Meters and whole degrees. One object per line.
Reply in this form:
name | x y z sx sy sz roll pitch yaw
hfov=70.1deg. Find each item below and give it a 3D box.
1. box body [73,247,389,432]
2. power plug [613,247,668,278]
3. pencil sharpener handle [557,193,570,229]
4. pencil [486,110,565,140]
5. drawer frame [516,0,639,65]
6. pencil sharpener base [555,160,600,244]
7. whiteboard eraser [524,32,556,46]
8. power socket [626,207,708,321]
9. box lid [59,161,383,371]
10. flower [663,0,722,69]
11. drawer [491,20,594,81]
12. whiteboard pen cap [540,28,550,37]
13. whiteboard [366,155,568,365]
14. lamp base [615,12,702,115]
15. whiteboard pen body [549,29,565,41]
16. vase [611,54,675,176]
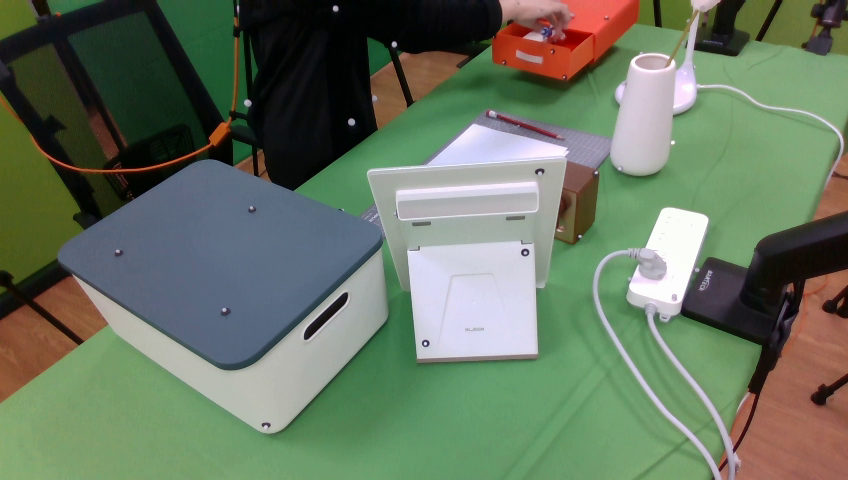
box body | -0.255 0.065 0.827 0.361 0.161 0.255 21 48 29
power plug | 0.306 0.032 0.851 0.072 0.053 0.035 24 49 34
pencil sharpener handle | 0.195 -0.038 0.908 0.035 0.068 0.031 24 50 30
pencil | 0.204 -0.232 1.226 0.192 0.012 0.012 29 52 33
drawer frame | 0.354 -0.506 1.404 0.200 0.083 0.214 25 55 33
pencil sharpener base | 0.228 -0.057 0.945 0.061 0.107 0.077 24 50 31
whiteboard eraser | 0.246 -0.433 1.359 0.055 0.042 0.113 28 45 31
power socket | 0.359 0.025 0.886 0.072 0.033 0.227 16 46 26
box lid | -0.262 0.010 0.777 0.369 0.015 0.264 21 48 29
flower | 0.379 -0.261 0.965 0.044 0.362 0.038 20 53 5
drawer | 0.288 -0.445 1.347 0.193 0.073 0.212 24 48 32
whiteboard pen cap | 0.245 -0.418 1.222 0.018 0.018 0.033 14 19 23
whiteboard | 0.059 0.050 0.738 0.217 0.307 0.143 -3 60 5
lamp base | 0.484 -0.363 1.211 0.180 0.181 0.159 -15 41 -14
whiteboard pen body | 0.274 -0.432 1.272 0.017 0.017 0.141 13 18 23
vase | 0.377 -0.209 1.031 0.098 0.201 0.097 -3 40 3
